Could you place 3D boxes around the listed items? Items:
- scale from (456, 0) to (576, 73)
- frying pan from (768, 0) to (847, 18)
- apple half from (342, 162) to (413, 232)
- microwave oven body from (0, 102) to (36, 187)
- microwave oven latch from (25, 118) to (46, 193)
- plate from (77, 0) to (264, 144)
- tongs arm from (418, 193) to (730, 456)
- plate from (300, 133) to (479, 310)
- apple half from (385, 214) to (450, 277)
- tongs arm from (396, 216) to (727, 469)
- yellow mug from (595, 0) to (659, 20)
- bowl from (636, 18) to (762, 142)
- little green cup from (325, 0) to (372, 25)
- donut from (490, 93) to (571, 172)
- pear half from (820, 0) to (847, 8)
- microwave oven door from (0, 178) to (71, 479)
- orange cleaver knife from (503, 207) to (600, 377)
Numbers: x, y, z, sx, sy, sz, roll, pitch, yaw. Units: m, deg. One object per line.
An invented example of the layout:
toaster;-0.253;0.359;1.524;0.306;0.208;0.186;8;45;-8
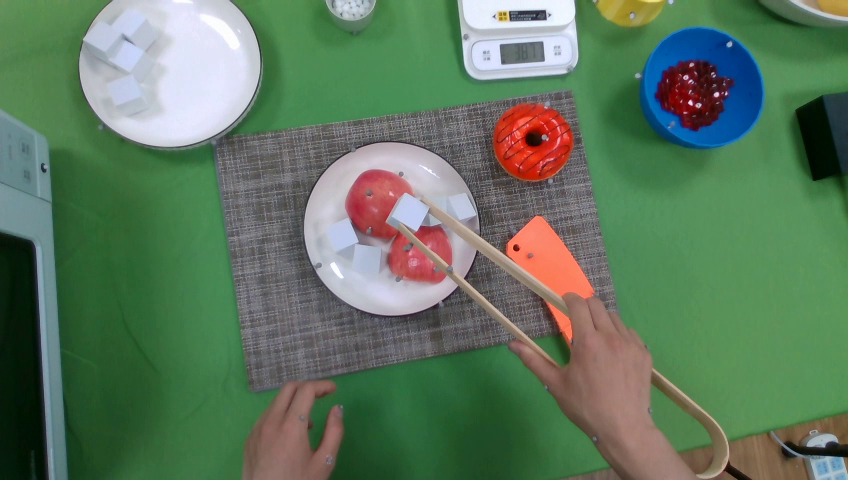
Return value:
scale;0.113;-0.317;0.772;0.149;0.031;0.200;-5;84;-5
frying pan;0.590;-0.344;0.783;0.307;0.103;0.485;-36;79;-7
apple half;-0.054;-0.055;0.702;0.074;0.053;0.080;34;80;3
microwave oven body;-0.555;0.086;0.542;0.326;0.260;0.440;-7;84;-7
microwave oven latch;-0.440;-0.093;0.671;0.030;0.029;0.079;-5;84;-6
plate;-0.294;-0.211;0.718;0.208;0.039;0.207;1;83;-5
tongs arm;0.141;0.075;0.607;0.386;0.028;0.028;39;68;10
plate;-0.039;-0.021;0.715;0.209;0.038;0.208;1;83;-5
apple half;-0.007;0.005;0.708;0.081;0.033;0.081;0;86;-2
tongs arm;0.126;0.092;0.600;0.383;0.026;0.050;43;72;11
yellow mug;0.258;-0.355;0.773;0.100;0.064;0.130;-42;87;-8
bowl;0.325;-0.186;0.752;0.151;0.077;0.151;1;83;-5
little green cup;-0.093;-0.298;0.748;0.061;0.038;0.061;1;82;-5
donut;0.129;-0.131;0.740;0.099;0.048;0.099;0;84;-3
pear half;0.553;-0.337;0.771;0.076;0.110;0.056;27;82;2
microwave oven door;-0.404;0.110;0.547;0.039;0.244;0.354;-7;83;-6
orange cleaver knife;0.170;0.061;0.734;0.077;0.012;0.211;-28;86;-12
